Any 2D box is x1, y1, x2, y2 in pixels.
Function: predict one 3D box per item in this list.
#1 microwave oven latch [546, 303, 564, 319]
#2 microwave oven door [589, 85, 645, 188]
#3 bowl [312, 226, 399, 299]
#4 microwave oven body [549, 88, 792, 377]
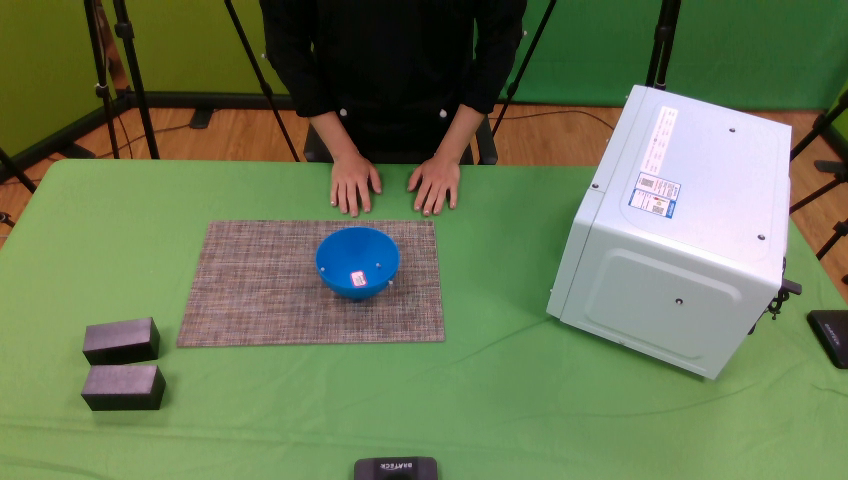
[{"bbox_3d":[0.242,0.102,1.081,0.030,0.029,0.079,21,48,17],"label":"microwave oven latch"},{"bbox_3d":[0.342,-0.107,1.149,0.039,0.245,0.354,20,48,15],"label":"microwave oven door"},{"bbox_3d":[-0.120,0.054,1.091,0.151,0.077,0.150,2,46,-2],"label":"bowl"},{"bbox_3d":[0.456,-0.028,1.088,0.325,0.261,0.440,20,47,16],"label":"microwave oven body"}]
